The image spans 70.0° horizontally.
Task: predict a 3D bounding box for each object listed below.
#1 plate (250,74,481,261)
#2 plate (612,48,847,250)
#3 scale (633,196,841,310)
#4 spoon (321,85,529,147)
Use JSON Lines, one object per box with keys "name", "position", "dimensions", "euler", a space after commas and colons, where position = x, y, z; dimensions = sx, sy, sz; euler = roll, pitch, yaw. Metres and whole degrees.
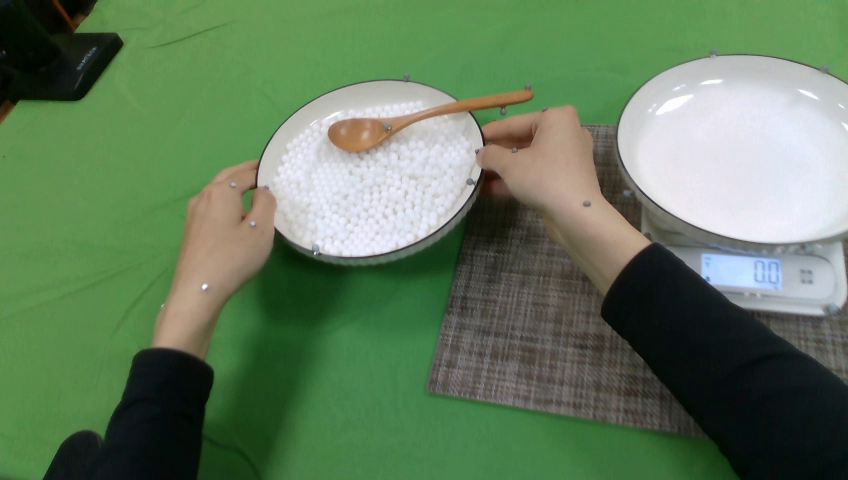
{"name": "plate", "position": [-0.051, -0.066, 0.550], "dimensions": [0.209, 0.038, 0.207], "euler": [-3, 57, 5]}
{"name": "plate", "position": [0.260, -0.075, 0.493], "dimensions": [0.207, 0.039, 0.205], "euler": [-5, 55, 7]}
{"name": "scale", "position": [0.257, -0.040, 0.509], "dimensions": [0.148, 0.032, 0.199], "euler": [5, 57, 14]}
{"name": "spoon", "position": [0.000, -0.118, 0.557], "dimensions": [0.193, 0.022, 0.041], "euler": [-12, 59, 9]}
